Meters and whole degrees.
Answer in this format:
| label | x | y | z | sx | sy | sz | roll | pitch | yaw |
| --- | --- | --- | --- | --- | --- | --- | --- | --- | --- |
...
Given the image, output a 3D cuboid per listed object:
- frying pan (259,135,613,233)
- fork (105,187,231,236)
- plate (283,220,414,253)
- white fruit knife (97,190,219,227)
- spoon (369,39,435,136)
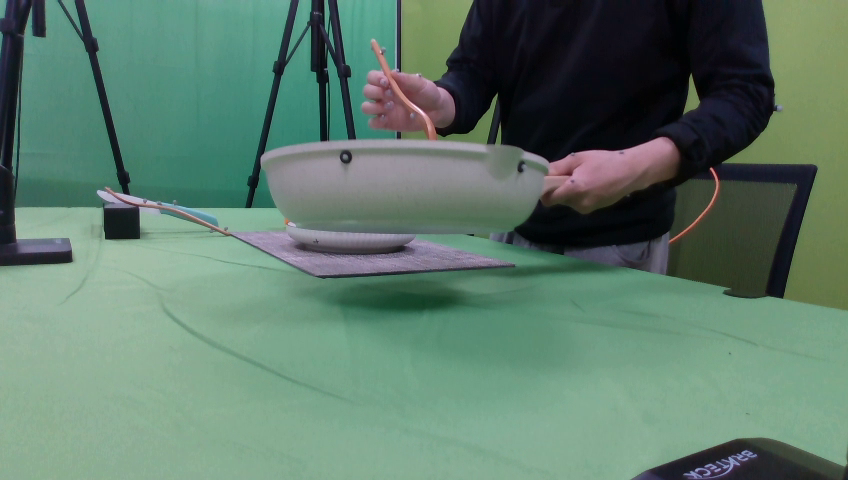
| label | x | y | z | sx | sy | sz | roll | pitch | yaw |
| --- | --- | --- | --- | --- | --- | --- | --- | --- | --- |
| frying pan | 0.063 | -0.061 | 0.688 | 0.490 | 0.102 | 0.305 | -8 | 5 | -36 |
| fork | -0.428 | -0.046 | 1.021 | 0.208 | 0.018 | 0.028 | 19 | -7 | -26 |
| plate | -0.119 | -0.010 | 0.968 | 0.208 | 0.039 | 0.207 | 3 | 7 | 0 |
| white fruit knife | -0.468 | -0.057 | 1.079 | 0.208 | 0.027 | 0.016 | 15 | -2 | -29 |
| spoon | -0.031 | -0.190 | 0.770 | 0.021 | 0.193 | 0.042 | -29 | -23 | -6 |
